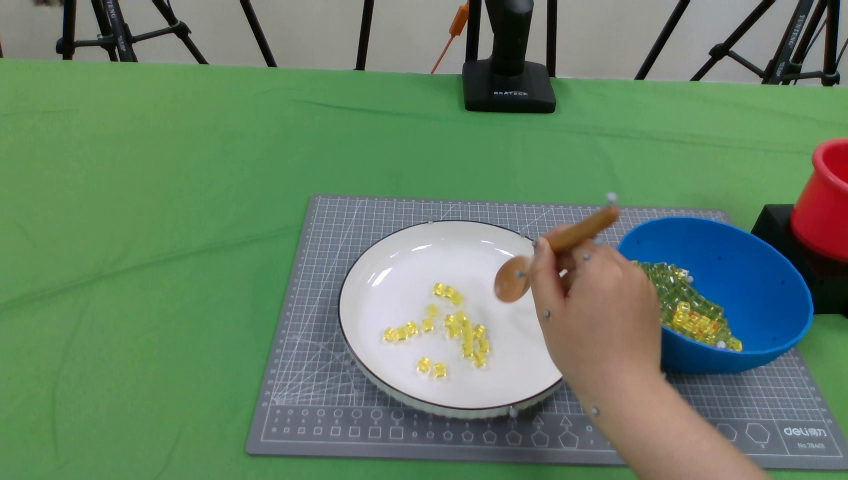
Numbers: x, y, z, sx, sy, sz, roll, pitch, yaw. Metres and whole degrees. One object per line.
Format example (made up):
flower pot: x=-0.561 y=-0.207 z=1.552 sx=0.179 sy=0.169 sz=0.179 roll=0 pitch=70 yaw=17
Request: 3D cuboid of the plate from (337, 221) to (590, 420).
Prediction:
plate: x=0.032 y=0.064 z=0.513 sx=0.208 sy=0.039 sz=0.205 roll=2 pitch=43 yaw=-1

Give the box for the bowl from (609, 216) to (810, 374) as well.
bowl: x=0.221 y=0.057 z=0.502 sx=0.151 sy=0.077 sz=0.150 roll=2 pitch=43 yaw=-1

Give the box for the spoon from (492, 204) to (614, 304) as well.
spoon: x=0.084 y=0.012 z=0.432 sx=0.022 sy=0.194 sz=0.041 roll=13 pitch=72 yaw=-5
